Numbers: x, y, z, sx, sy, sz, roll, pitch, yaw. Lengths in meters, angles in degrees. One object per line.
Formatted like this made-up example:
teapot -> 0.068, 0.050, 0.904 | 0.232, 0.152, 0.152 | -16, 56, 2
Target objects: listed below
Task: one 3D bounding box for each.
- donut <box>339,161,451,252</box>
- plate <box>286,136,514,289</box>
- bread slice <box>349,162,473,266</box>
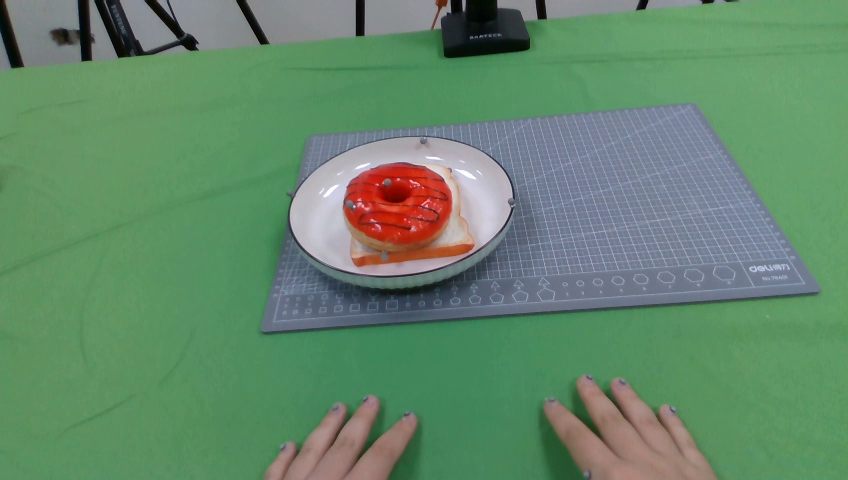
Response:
donut -> -0.025, -0.029, 0.527 | 0.099, 0.049, 0.098 | -1, 45, 2
plate -> -0.021, -0.026, 0.564 | 0.209, 0.038, 0.207 | -3, 42, 3
bread slice -> -0.019, -0.028, 0.569 | 0.107, 0.018, 0.133 | -8, 42, -4
